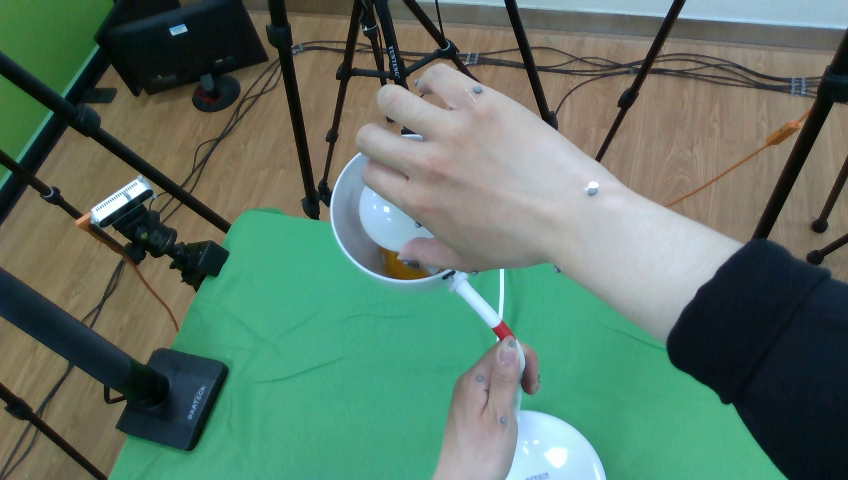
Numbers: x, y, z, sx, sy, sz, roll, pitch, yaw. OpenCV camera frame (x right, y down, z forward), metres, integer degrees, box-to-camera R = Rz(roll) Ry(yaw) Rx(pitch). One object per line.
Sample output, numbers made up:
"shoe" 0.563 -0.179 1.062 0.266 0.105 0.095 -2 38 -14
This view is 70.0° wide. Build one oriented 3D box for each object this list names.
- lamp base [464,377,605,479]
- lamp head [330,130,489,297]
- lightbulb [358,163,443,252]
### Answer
"lamp base" 0.111 0.227 0.641 0.161 0.182 0.177 -25 57 -7
"lamp head" -0.004 -0.006 0.469 0.112 0.124 0.111 -3 68 7
"lightbulb" -0.014 -0.016 0.446 0.059 0.108 0.059 -2 72 6
